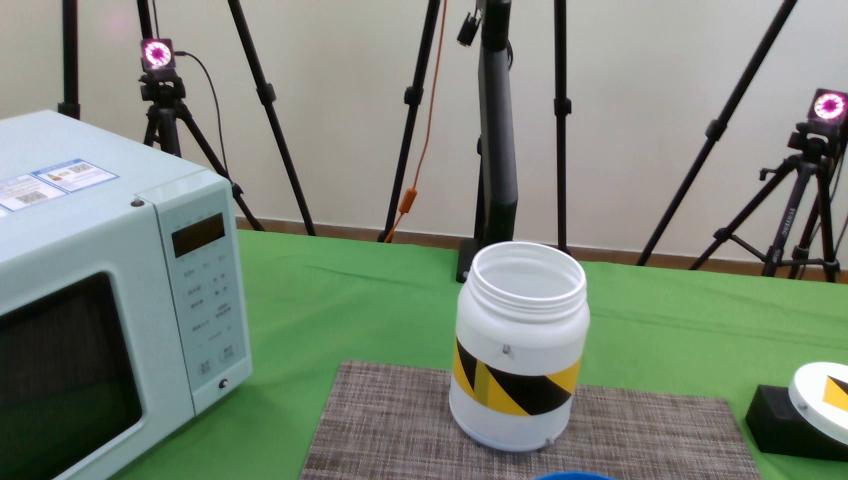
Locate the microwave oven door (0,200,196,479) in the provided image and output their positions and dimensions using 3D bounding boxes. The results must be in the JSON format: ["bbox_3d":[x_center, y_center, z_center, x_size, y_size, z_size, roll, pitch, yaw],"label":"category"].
[{"bbox_3d":[-0.336,0.138,0.430,0.039,0.245,0.356,20,33,28],"label":"microwave oven door"}]

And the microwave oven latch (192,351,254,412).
[{"bbox_3d":[-0.218,0.146,0.643,0.030,0.030,0.079,22,34,28],"label":"microwave oven latch"}]

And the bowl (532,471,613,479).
[{"bbox_3d":[0.121,0.261,0.456,0.151,0.077,0.150,2,29,-1],"label":"bowl"}]

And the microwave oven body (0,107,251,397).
[{"bbox_3d":[-0.435,0.083,0.530,0.323,0.262,0.441,21,34,27],"label":"microwave oven body"}]

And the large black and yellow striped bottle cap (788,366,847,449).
[{"bbox_3d":[0.439,0.172,0.621,0.115,0.019,0.114,2,28,-1],"label":"large black and yellow striped bottle cap"}]

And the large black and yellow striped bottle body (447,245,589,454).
[{"bbox_3d":[0.094,0.109,0.620,0.131,0.185,0.129,3,29,-1],"label":"large black and yellow striped bottle body"}]
